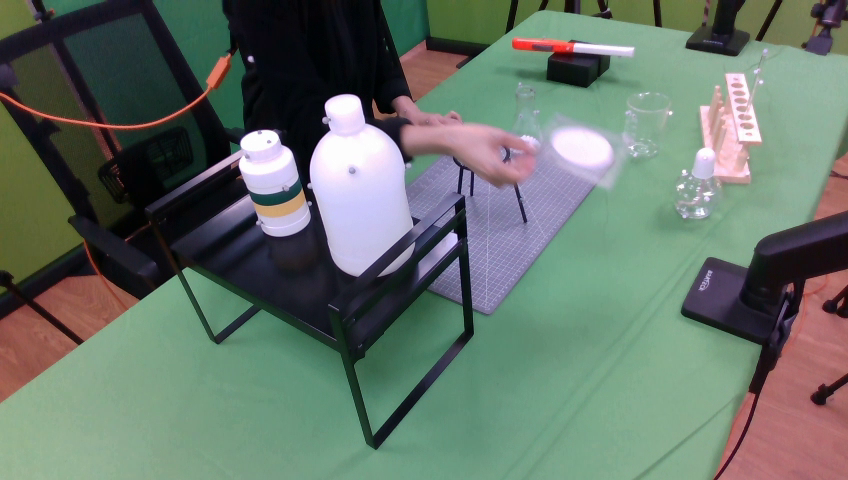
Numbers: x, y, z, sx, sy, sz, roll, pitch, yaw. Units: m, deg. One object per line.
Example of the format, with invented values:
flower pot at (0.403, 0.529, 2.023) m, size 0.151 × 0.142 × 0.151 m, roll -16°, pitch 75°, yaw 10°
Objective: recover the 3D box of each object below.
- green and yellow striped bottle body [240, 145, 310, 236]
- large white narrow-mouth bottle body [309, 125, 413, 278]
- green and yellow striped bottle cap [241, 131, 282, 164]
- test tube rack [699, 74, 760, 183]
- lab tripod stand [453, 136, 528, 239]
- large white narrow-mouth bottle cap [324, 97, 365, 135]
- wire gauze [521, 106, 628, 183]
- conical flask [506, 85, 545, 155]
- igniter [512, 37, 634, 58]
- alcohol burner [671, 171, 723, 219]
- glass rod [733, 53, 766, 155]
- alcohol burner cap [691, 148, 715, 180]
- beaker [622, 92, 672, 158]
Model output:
green and yellow striped bottle body at (-0.181, -0.068, 0.729) m, size 0.063 × 0.120 × 0.063 m, roll -4°, pitch 40°, yaw 4°
large white narrow-mouth bottle body at (-0.069, -0.057, 0.644) m, size 0.102 × 0.195 × 0.101 m, roll -3°, pitch 42°, yaw 4°
green and yellow striped bottle cap at (-0.187, -0.107, 0.695) m, size 0.045 × 0.020 × 0.045 m, roll -3°, pitch 39°, yaw 3°
test tube rack at (0.547, -0.208, 1.095) m, size 0.066 × 0.085 × 0.242 m, roll 6°, pitch 42°, yaw 15°
lab tripod stand at (0.094, -0.086, 0.974) m, size 0.148 × 0.132 × 0.147 m, roll -4°, pitch 43°, yaw 4°
large white narrow-mouth bottle cap at (-0.076, -0.120, 0.585) m, size 0.038 × 0.024 × 0.037 m, roll -3°, pitch 42°, yaw 3°
wire gauze at (0.213, -0.141, 0.848) m, size 0.124 × 0.011 × 0.121 m, roll 25°, pitch 52°, yaw 15°
conical flask at (0.190, -0.227, 1.134) m, size 0.075 × 0.122 × 0.075 m, roll -4°, pitch 41°, yaw 4°
igniter at (0.328, -0.433, 1.360) m, size 0.275 × 0.025 × 0.057 m, roll 12°, pitch 33°, yaw 20°
alcohol burner at (0.434, -0.093, 0.955) m, size 0.078 × 0.119 × 0.077 m, roll -3°, pitch 43°, yaw 3°
glass rod at (0.540, -0.220, 1.006) m, size 0.008 × 0.201 × 0.008 m, roll -5°, pitch 45°, yaw 6°
alcohol burner cap at (0.432, -0.120, 0.930) m, size 0.034 × 0.048 × 0.033 m, roll -7°, pitch 48°, yaw 8°
beaker at (0.402, -0.210, 1.106) m, size 0.074 × 0.101 × 0.083 m, roll -9°, pitch 40°, yaw -2°
